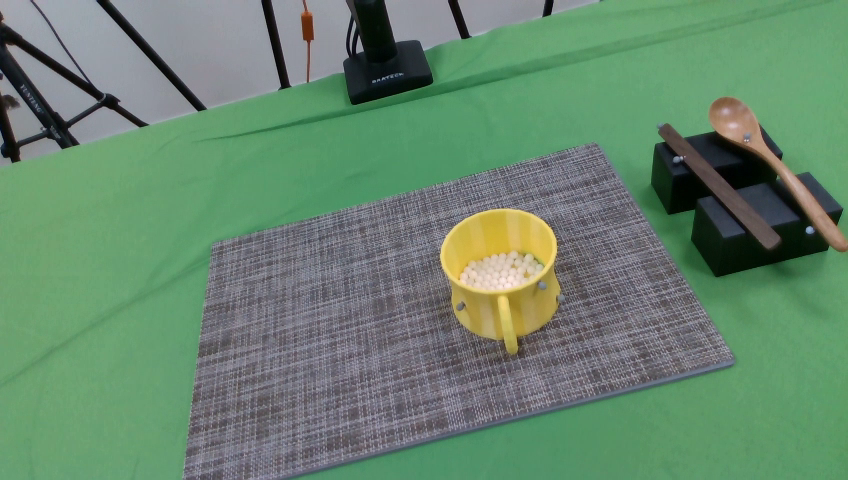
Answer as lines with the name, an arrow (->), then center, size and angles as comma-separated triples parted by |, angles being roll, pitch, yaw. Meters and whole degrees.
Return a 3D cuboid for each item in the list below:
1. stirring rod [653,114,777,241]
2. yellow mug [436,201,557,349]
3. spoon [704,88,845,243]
stirring rod -> 0.250, -0.061, 0.534 | 0.014, 0.006, 0.174 | -46, 40, 24
yellow mug -> 0.066, 0.033, 0.523 | 0.100, 0.064, 0.129 | -9, 47, 7
spoon -> 0.301, -0.071, 0.526 | 0.041, 0.022, 0.191 | -14, 47, 0
